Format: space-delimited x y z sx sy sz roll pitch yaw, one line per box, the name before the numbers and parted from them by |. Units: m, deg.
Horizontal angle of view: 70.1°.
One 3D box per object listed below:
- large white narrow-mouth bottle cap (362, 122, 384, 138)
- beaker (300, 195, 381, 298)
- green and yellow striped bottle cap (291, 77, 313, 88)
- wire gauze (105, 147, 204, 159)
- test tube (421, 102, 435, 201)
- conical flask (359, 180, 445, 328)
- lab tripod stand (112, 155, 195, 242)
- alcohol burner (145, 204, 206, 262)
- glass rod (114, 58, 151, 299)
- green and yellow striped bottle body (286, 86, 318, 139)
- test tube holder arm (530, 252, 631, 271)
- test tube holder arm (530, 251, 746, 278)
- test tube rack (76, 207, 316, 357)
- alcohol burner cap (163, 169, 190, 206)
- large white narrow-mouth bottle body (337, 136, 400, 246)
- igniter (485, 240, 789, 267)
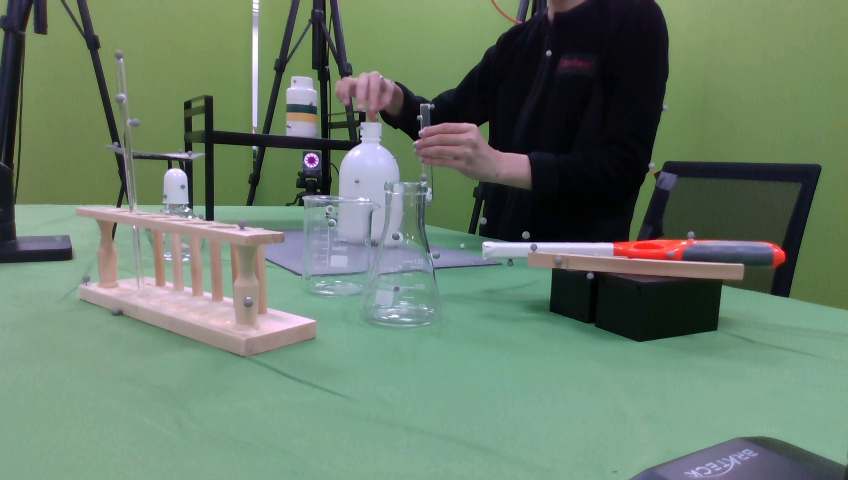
large white narrow-mouth bottle cap | -0.084 -0.181 0.995 0.038 0.024 0.037 4 7 0
beaker | -0.087 0.006 0.626 0.084 0.100 0.074 1 8 -17
green and yellow striped bottle cap | -0.250 -0.321 1.238 0.045 0.020 0.045 3 6 0
wire gauze | -0.407 -0.131 0.928 0.125 0.011 0.121 2 6 -11
test tube | 0.006 -0.133 0.921 0.017 0.150 0.017 -2 11 1
conical flask | -0.017 0.010 0.522 0.075 0.122 0.075 2 7 0
lab tripod stand | -0.405 -0.064 0.931 0.148 0.131 0.148 1 7 0
alcohol burner | -0.321 -0.032 0.788 0.078 0.119 0.078 0 7 0
glass rod | -0.236 -0.044 0.491 0.008 0.199 0.008 0 15 0
green and yellow striped bottle body | -0.251 -0.270 1.245 0.063 0.119 0.063 2 7 0
test tube holder arm | 0.139 0.019 0.538 0.087 0.015 0.010 3 6 13
test tube holder arm | 0.182 0.022 0.523 0.178 0.015 0.013 3 6 12
test tube rack | -0.196 0.023 0.500 0.241 0.085 0.067 8 9 36
alcohol burner cap | -0.321 -0.068 0.782 0.034 0.048 0.034 1 7 0
large white narrow-mouth bottle body | -0.091 -0.092 1.006 0.102 0.194 0.102 4 7 0
igniter | 0.197 0.012 0.585 0.276 0.025 0.057 1 5 12
